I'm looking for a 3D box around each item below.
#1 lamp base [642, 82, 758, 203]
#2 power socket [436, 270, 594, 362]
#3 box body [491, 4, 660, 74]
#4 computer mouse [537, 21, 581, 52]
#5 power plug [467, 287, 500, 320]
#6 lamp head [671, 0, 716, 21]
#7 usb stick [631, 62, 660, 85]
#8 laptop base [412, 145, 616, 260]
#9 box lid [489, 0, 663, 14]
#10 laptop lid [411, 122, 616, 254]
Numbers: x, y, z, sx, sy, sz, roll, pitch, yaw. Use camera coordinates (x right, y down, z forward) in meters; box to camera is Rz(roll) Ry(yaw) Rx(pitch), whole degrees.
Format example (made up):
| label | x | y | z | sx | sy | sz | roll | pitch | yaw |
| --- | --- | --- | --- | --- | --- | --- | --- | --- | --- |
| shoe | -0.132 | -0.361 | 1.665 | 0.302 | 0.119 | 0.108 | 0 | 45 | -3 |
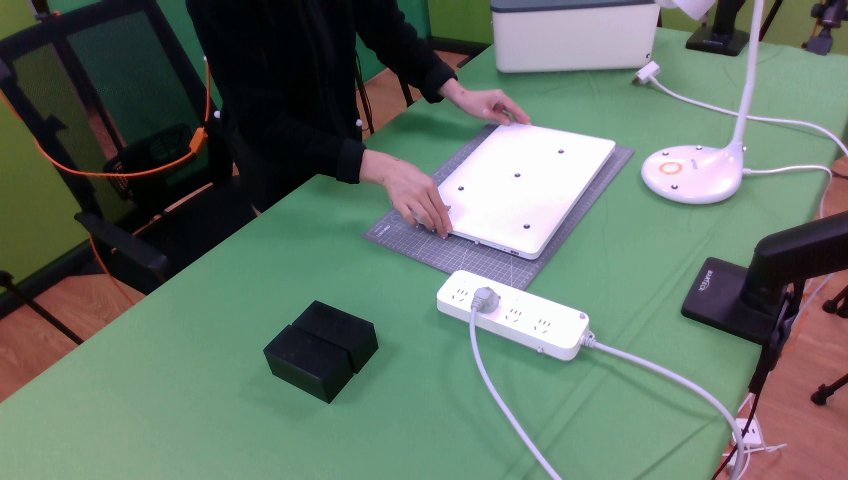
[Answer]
| label | x | y | z | sx | sy | sz | roll | pitch | yaw |
| --- | --- | --- | --- | --- | --- | --- | --- | --- | --- |
| lamp base | 0.464 | -0.174 | 0.992 | 0.179 | 0.181 | 0.159 | -5 | 41 | -2 |
| power socket | 0.118 | 0.101 | 0.832 | 0.225 | 0.033 | 0.072 | 19 | 48 | 27 |
| box body | 0.346 | -0.520 | 1.429 | 0.363 | 0.161 | 0.253 | 0 | 41 | 9 |
| computer mouse | 0.335 | -0.503 | 1.487 | 0.118 | 0.041 | 0.062 | 22 | 19 | -28 |
| power plug | 0.073 | 0.092 | 0.814 | 0.035 | 0.053 | 0.073 | 29 | 54 | 34 |
| lamp head | 0.375 | -0.373 | 0.807 | 0.122 | 0.113 | 0.112 | -40 | 27 | 32 |
| usb stick | 0.480 | -0.358 | 1.317 | 0.059 | 0.022 | 0.027 | -35 | 56 | 14 |
| laptop base | 0.168 | -0.100 | 1.072 | 0.234 | 0.023 | 0.355 | 17 | 45 | 30 |
| box lid | 0.340 | -0.575 | 1.380 | 0.371 | 0.015 | 0.262 | 0 | 41 | 9 |
| laptop lid | 0.165 | -0.111 | 1.065 | 0.240 | 0.013 | 0.357 | 19 | 46 | 30 |
